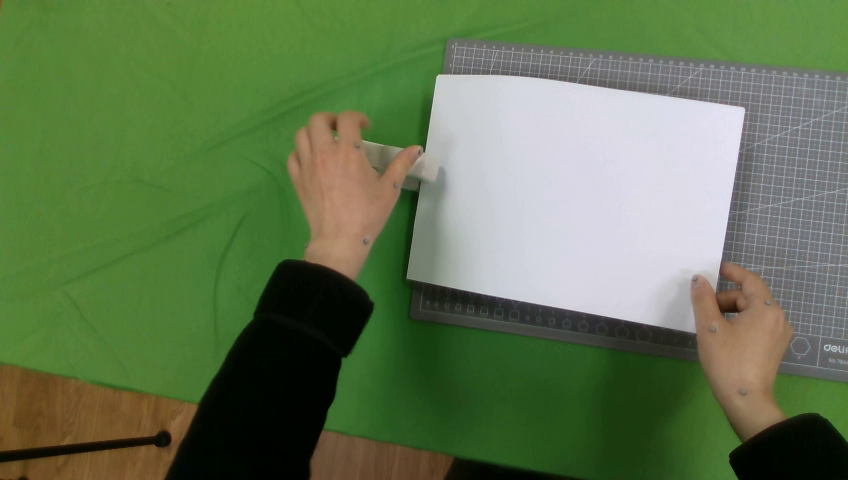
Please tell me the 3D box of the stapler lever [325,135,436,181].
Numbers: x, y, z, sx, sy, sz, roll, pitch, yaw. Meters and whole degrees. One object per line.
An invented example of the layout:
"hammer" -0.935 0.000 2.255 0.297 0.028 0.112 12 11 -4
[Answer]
"stapler lever" -0.046 -0.083 0.609 0.118 0.040 0.027 14 88 10

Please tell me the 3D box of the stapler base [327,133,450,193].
"stapler base" -0.040 -0.082 0.634 0.130 0.024 0.041 14 88 10
